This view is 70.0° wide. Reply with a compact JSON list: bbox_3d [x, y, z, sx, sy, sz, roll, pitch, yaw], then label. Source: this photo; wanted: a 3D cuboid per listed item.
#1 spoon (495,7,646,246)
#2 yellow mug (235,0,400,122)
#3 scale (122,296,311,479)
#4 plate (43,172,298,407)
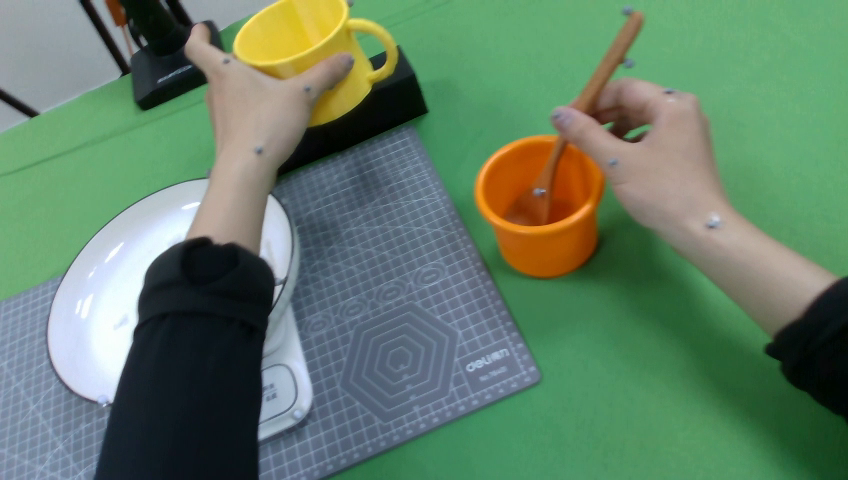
[{"bbox_3d":[0.099,-0.071,0.428,0.022,0.195,0.041,-3,45,-30],"label":"spoon"},{"bbox_3d":[-0.084,-0.159,0.508,0.130,0.064,0.099,-4,51,15],"label":"yellow mug"},{"bbox_3d":[-0.179,0.075,0.493,0.148,0.032,0.198,-24,53,0],"label":"scale"},{"bbox_3d":[-0.196,0.036,0.484,0.209,0.038,0.207,-7,54,11],"label":"plate"}]
